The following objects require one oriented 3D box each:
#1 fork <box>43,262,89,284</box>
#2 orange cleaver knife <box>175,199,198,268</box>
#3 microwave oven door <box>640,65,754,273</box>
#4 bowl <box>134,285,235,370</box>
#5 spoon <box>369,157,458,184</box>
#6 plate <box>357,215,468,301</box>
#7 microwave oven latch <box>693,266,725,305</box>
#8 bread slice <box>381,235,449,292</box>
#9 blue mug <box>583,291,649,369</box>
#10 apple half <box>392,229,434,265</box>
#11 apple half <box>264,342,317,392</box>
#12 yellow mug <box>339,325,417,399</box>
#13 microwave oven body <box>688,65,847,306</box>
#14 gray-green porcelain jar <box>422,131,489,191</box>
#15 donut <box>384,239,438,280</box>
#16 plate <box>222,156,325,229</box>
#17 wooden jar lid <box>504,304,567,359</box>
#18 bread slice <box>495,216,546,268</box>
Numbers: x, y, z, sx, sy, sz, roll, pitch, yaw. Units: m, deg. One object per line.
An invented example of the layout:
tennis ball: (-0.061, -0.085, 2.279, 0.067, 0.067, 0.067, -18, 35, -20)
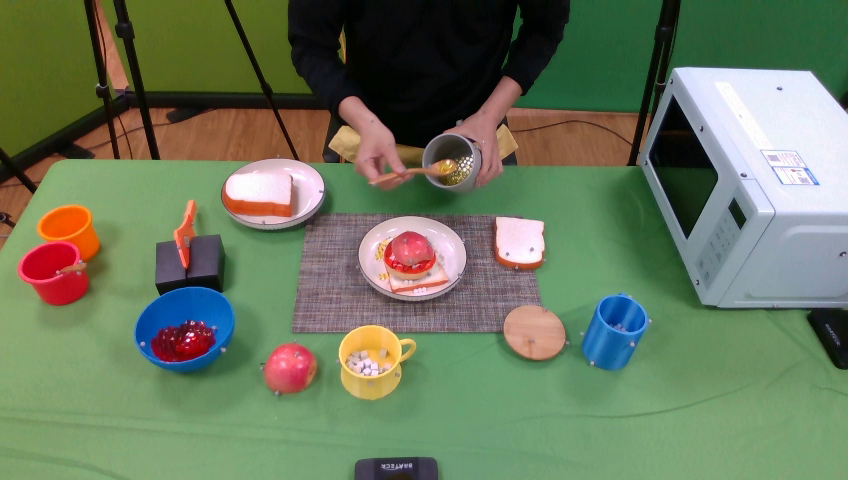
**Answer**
fork: (-0.599, 0.053, 1.013, 0.207, 0.019, 0.028, -14, 30, 45)
orange cleaver knife: (-0.438, -0.017, 1.138, 0.012, 0.077, 0.210, -13, 27, -7)
microwave oven door: (0.523, -0.147, 1.193, 0.039, 0.245, 0.353, 0, 47, -3)
bowl: (-0.377, 0.155, 0.981, 0.151, 0.077, 0.150, 2, 46, -2)
spoon: (-0.016, -0.118, 1.026, 0.194, 0.022, 0.041, -15, 40, -42)
plate: (-0.022, 0.037, 1.141, 0.208, 0.039, 0.206, 2, 46, -2)
microwave oven latch: (0.523, 0.081, 1.115, 0.030, 0.029, 0.078, 3, 46, 0)
bread slice: (-0.027, 0.039, 1.141, 0.107, 0.018, 0.133, -12, 49, -16)
blue mug: (0.324, 0.142, 1.023, 0.082, 0.106, 0.116, 15, 47, 11)
apple half: (-0.021, 0.005, 1.083, 0.081, 0.033, 0.081, 7, 48, -7)
apple half: (-0.214, 0.198, 0.970, 0.074, 0.053, 0.080, 19, 48, 11)
yellow mug: (-0.072, 0.190, 0.978, 0.131, 0.064, 0.099, -17, 50, -20)
microwave oven body: (0.669, -0.111, 1.176, 0.326, 0.261, 0.439, 0, 46, -3)
gray-green porcelain jar: (0.066, -0.151, 1.184, 0.105, 0.106, 0.127, 23, 7, 18)
donut: (-0.025, 0.029, 1.109, 0.099, 0.048, 0.098, 2, 46, -2)
plate: (-0.308, -0.095, 1.251, 0.209, 0.038, 0.208, 2, 47, -2)
wooden jar lid: (0.192, 0.161, 1.051, 0.108, 0.021, 0.107, 2, 50, -3)
bread slice: (0.194, 0.002, 1.204, 0.105, 0.019, 0.131, 5, 45, 2)
